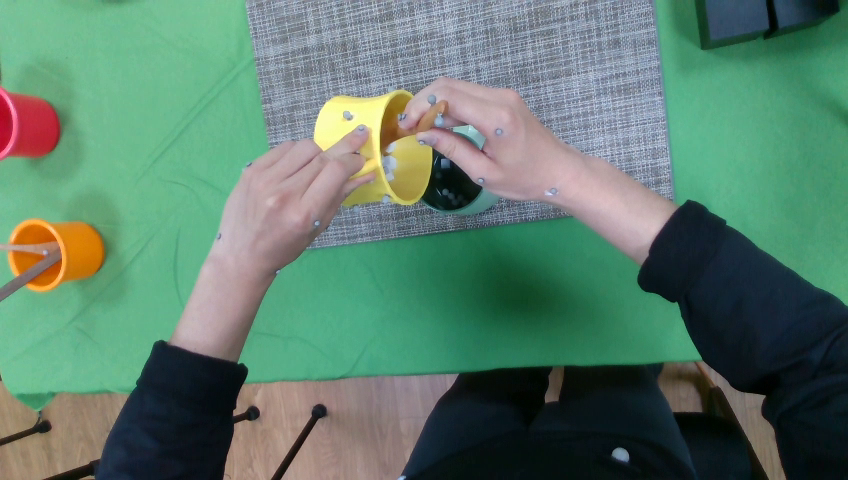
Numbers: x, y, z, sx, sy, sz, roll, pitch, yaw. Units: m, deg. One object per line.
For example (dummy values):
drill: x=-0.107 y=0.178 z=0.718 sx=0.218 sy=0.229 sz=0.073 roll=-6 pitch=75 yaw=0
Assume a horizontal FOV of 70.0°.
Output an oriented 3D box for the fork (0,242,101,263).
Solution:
fork: x=-0.526 y=0.011 z=0.765 sx=0.209 sy=0.018 sz=0.028 roll=5 pitch=97 yaw=-30

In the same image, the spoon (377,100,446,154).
spoon: x=-0.013 y=-0.090 z=0.476 sx=0.022 sy=0.192 sz=0.041 roll=27 pitch=85 yaw=-19

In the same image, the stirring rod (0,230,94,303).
stirring rod: x=-0.499 y=0.045 z=0.768 sx=0.014 sy=0.006 sz=0.176 roll=43 pitch=63 yaw=5

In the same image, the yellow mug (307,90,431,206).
yellow mug: x=-0.051 y=-0.074 z=0.528 sx=0.063 sy=0.130 sz=0.100 roll=2 pitch=116 yaw=27

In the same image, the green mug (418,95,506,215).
green mug: x=0.037 y=-0.087 z=0.628 sx=0.092 sy=0.105 sz=0.125 roll=10 pitch=99 yaw=14
